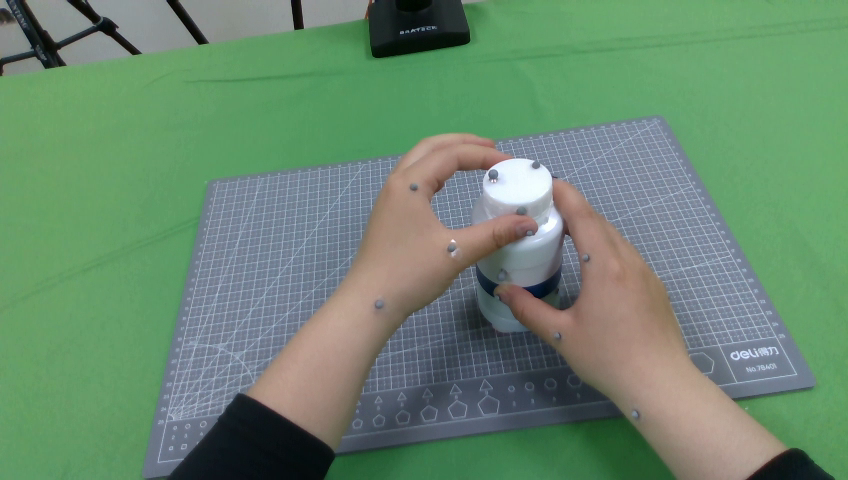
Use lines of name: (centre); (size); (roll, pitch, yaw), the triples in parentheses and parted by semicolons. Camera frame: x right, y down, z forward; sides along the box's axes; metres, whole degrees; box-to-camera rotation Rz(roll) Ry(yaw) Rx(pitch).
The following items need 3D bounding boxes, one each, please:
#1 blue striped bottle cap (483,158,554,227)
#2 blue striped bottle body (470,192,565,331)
blue striped bottle cap: (0.059, -0.031, 0.379); (0.044, 0.021, 0.044); (-6, 45, 7)
blue striped bottle body: (0.065, 0.005, 0.420); (0.063, 0.122, 0.062); (-4, 48, 5)
